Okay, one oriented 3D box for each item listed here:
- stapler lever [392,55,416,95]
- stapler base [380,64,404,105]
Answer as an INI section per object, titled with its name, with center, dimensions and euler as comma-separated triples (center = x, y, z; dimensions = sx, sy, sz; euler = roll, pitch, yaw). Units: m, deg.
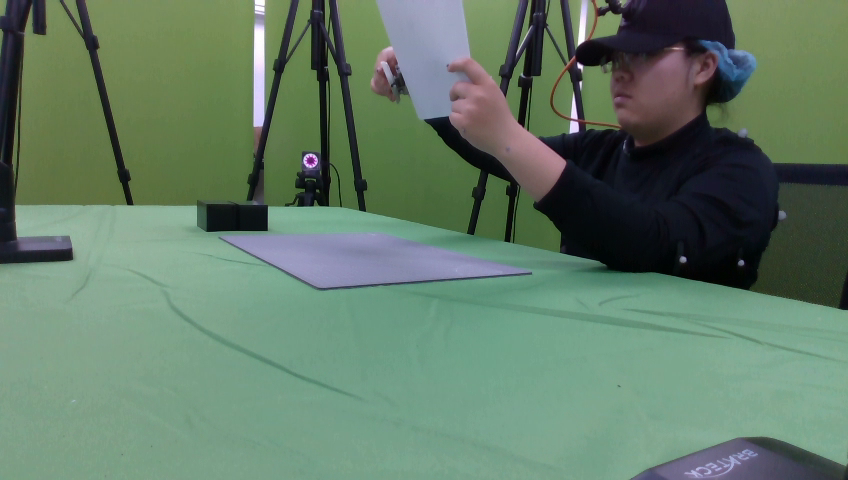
[stapler lever]
center = -0.032, -0.288, 1.056
dimensions = 0.040, 0.027, 0.118
euler = -31, -4, 1
[stapler base]
center = -0.051, -0.274, 1.054
dimensions = 0.024, 0.041, 0.130
euler = -31, -4, 0
